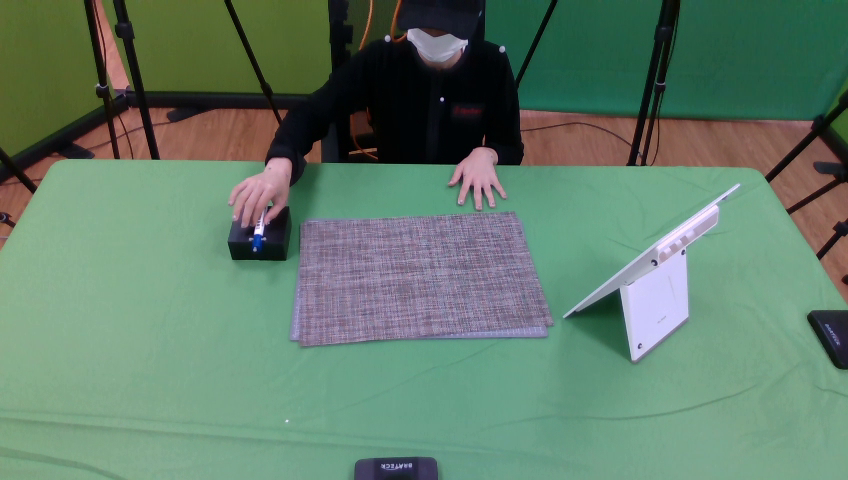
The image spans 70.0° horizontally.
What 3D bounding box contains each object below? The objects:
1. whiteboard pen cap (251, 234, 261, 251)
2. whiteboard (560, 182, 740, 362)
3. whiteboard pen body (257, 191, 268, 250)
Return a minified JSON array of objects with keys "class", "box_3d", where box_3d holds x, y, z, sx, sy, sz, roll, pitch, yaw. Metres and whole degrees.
[{"class":"whiteboard pen cap","box_3d":[-0.306,0.004,1.103,0.018,0.018,0.033,-2,48,-6]},{"class":"whiteboard","box_3d":[0.406,0.075,1.001,0.217,0.306,0.143,-28,73,-28]},{"class":"whiteboard pen body","box_3d":[-0.307,-0.037,1.147,0.017,0.017,0.140,-2,53,-6]}]
